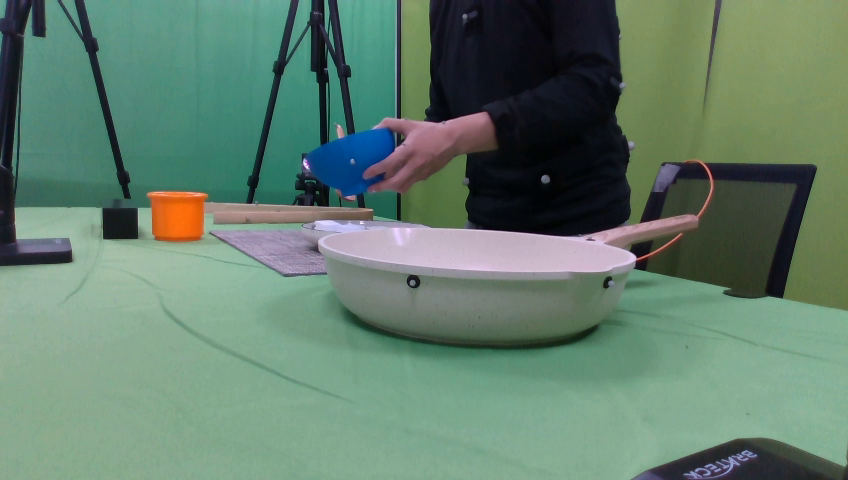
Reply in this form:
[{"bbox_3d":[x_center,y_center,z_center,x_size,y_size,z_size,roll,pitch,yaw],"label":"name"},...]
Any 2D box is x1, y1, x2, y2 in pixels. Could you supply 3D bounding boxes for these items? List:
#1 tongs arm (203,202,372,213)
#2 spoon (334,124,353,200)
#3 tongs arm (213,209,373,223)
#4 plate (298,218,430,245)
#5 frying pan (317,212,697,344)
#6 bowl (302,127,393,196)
[{"bbox_3d":[-0.312,-0.069,1.418,0.387,0.026,0.050,0,8,-24],"label":"tongs arm"},{"bbox_3d":[-0.153,-0.149,1.126,0.042,0.193,0.021,18,-41,-33],"label":"spoon"},{"bbox_3d":[-0.274,-0.054,1.347,0.390,0.028,0.028,-3,6,-37],"label":"tongs arm"},{"bbox_3d":[-0.091,-0.006,0.949,0.208,0.039,0.207,2,7,0],"label":"plate"},{"bbox_3d":[0.133,0.013,0.629,0.490,0.102,0.305,-12,14,-31],"label":"frying pan"},{"bbox_3d":[-0.112,-0.119,0.975,0.151,0.077,0.151,-19,0,0],"label":"bowl"}]
